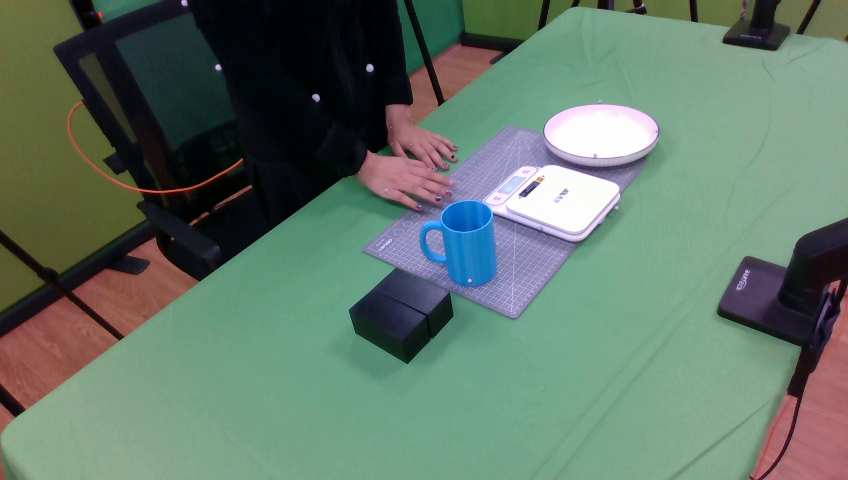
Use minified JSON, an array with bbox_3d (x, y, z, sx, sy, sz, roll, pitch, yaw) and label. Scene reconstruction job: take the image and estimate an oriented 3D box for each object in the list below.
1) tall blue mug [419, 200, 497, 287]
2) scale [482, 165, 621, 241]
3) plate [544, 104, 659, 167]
[{"bbox_3d":[0.053,0.010,0.889,0.107,0.108,0.077,-15,41,-7],"label":"tall blue mug"},{"bbox_3d":[0.211,-0.070,1.014,0.199,0.032,0.149,23,49,33],"label":"scale"},{"bbox_3d":[0.328,-0.192,1.132,0.209,0.038,0.208,-4,39,4],"label":"plate"}]
